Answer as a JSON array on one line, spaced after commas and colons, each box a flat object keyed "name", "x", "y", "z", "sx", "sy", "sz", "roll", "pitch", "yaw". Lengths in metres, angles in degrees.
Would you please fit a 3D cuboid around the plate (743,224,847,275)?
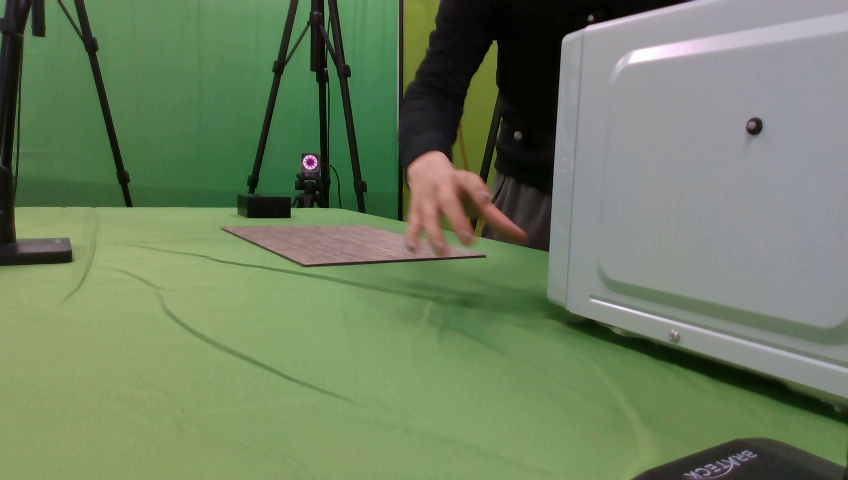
[{"name": "plate", "x": 0.407, "y": 0.008, "z": 0.553, "sx": 0.209, "sy": 0.038, "sz": 0.209, "roll": 1, "pitch": 4, "yaw": 0}]

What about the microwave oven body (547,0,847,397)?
[{"name": "microwave oven body", "x": 0.378, "y": -0.045, "z": 0.509, "sx": 0.444, "sy": 0.260, "sz": 0.324, "roll": -2, "pitch": 8, "yaw": -31}]

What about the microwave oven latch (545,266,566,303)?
[{"name": "microwave oven latch", "x": 0.147, "y": 0.038, "z": 0.555, "sx": 0.079, "sy": 0.029, "sz": 0.030, "roll": -2, "pitch": 7, "yaw": -28}]

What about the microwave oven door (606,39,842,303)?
[{"name": "microwave oven door", "x": 0.341, "y": -0.070, "z": 0.654, "sx": 0.358, "sy": 0.243, "sz": 0.039, "roll": -3, "pitch": 9, "yaw": -31}]
